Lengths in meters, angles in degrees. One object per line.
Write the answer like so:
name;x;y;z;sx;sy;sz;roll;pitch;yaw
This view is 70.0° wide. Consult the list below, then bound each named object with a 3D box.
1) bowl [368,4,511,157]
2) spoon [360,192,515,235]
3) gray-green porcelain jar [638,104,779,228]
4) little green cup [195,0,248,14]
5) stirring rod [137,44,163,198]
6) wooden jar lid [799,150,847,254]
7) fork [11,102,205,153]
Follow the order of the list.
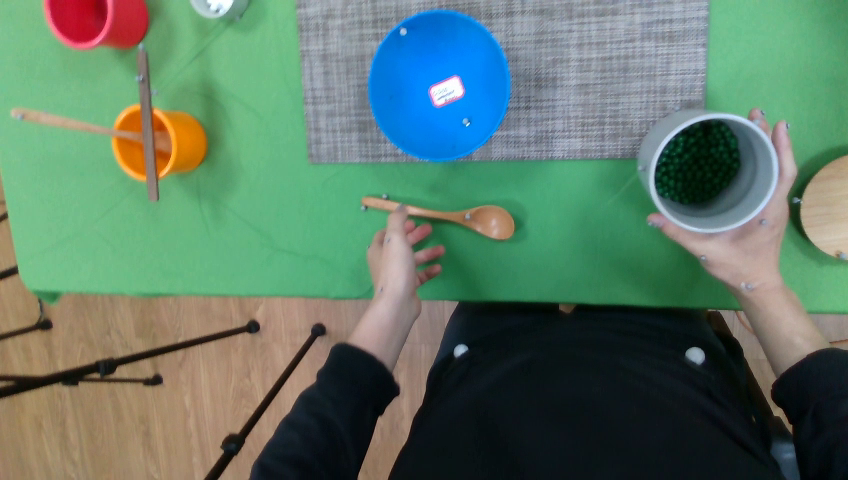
bowl;0.024;-0.167;0.650;0.151;0.077;0.152;3;103;14
spoon;0.013;-0.038;0.714;0.193;0.021;0.042;9;123;12
gray-green porcelain jar;0.264;-0.076;0.582;0.105;0.126;0.106;3;106;13
little green cup;-0.238;-0.298;0.714;0.061;0.038;0.062;3;103;15
stirring rod;-0.321;-0.137;0.711;0.014;0.006;0.176;3;103;13
wooden jar lid;0.434;-0.039;0.604;0.108;0.020;0.109;3;103;15
fork;-0.372;-0.135;0.727;0.209;0.018;0.028;8;111;-32
